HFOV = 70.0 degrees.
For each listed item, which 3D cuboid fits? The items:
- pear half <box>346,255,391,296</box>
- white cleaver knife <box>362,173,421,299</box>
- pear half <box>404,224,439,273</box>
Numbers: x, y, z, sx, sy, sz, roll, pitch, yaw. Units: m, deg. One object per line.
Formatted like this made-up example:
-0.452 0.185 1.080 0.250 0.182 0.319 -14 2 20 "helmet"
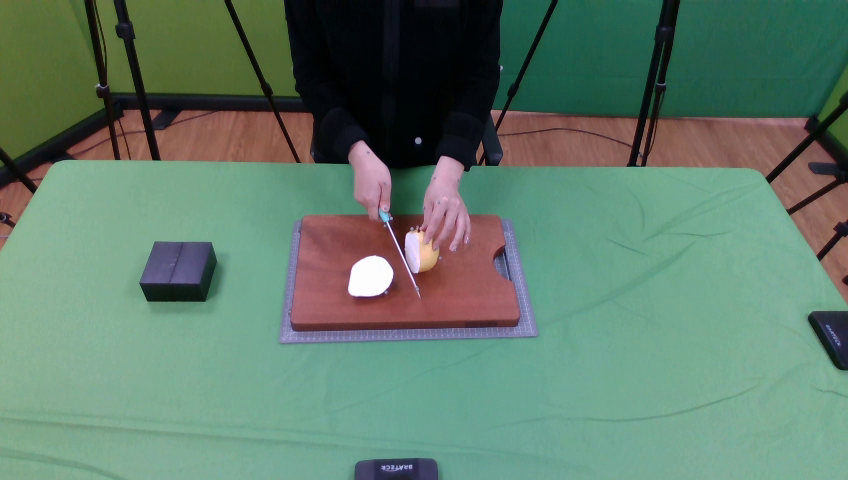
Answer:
-0.100 0.070 1.075 0.088 0.031 0.070 -40 75 -15 "pear half"
-0.063 -0.013 1.125 0.021 0.066 0.284 -22 58 -3 "white cleaver knife"
-0.001 0.006 1.091 0.056 0.110 0.076 -19 56 -21 "pear half"
